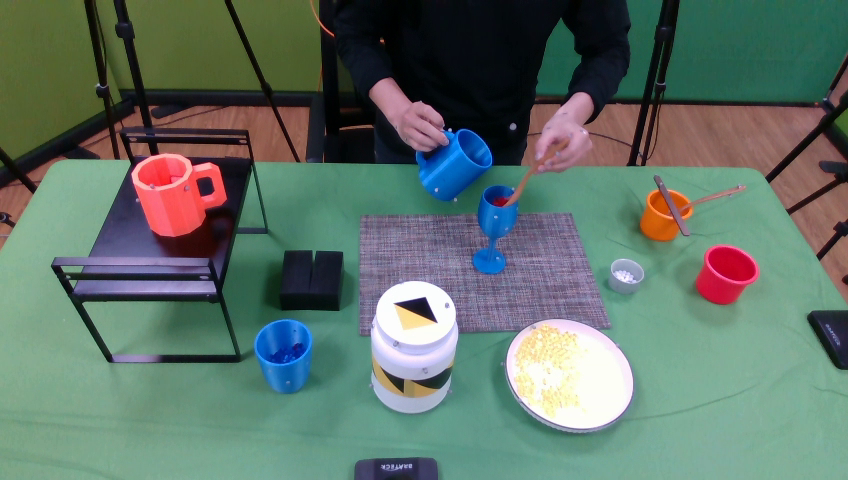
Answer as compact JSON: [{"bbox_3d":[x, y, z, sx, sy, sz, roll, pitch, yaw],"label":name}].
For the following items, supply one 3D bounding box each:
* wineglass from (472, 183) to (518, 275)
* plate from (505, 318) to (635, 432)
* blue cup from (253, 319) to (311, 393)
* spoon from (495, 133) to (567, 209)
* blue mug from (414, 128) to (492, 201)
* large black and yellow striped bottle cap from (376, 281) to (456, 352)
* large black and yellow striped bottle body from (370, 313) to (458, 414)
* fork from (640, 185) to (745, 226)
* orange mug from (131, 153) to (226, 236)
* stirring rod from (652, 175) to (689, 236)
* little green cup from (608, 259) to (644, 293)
[{"bbox_3d":[0.128,-0.018,1.113,0.074,0.173,0.073,2,46,-2],"label":"wineglass"},{"bbox_3d":[0.235,0.221,0.991,0.209,0.038,0.208,2,46,-2],"label":"plate"},{"bbox_3d":[-0.217,0.187,0.943,0.093,0.101,0.092,4,45,-3],"label":"blue cup"},{"bbox_3d":[0.172,-0.110,0.995,0.021,0.194,0.041,41,46,7],"label":"spoon"},{"bbox_3d":[0.039,-0.138,1.040,0.117,0.106,0.082,36,41,-18],"label":"blue mug"},{"bbox_3d":[-0.011,0.107,0.863,0.115,0.019,0.114,2,47,-2],"label":"large black and yellow striped bottle cap"},{"bbox_3d":[-0.017,0.165,0.924,0.131,0.185,0.130,2,46,-2],"label":"large black and yellow striped bottle body"},{"bbox_3d":[0.534,-0.069,1.215,0.207,0.019,0.028,-26,27,33],"label":"fork"},{"bbox_3d":[-0.375,-0.075,0.937,0.126,0.101,0.083,-20,50,-17],"label":"orange mug"},{"bbox_3d":[0.491,-0.072,1.211,0.014,0.006,0.175,0,47,-6],"label":"stirring rod"},{"bbox_3d":[0.379,0.070,1.147,0.061,0.039,0.061,3,45,-3],"label":"little green cup"}]
